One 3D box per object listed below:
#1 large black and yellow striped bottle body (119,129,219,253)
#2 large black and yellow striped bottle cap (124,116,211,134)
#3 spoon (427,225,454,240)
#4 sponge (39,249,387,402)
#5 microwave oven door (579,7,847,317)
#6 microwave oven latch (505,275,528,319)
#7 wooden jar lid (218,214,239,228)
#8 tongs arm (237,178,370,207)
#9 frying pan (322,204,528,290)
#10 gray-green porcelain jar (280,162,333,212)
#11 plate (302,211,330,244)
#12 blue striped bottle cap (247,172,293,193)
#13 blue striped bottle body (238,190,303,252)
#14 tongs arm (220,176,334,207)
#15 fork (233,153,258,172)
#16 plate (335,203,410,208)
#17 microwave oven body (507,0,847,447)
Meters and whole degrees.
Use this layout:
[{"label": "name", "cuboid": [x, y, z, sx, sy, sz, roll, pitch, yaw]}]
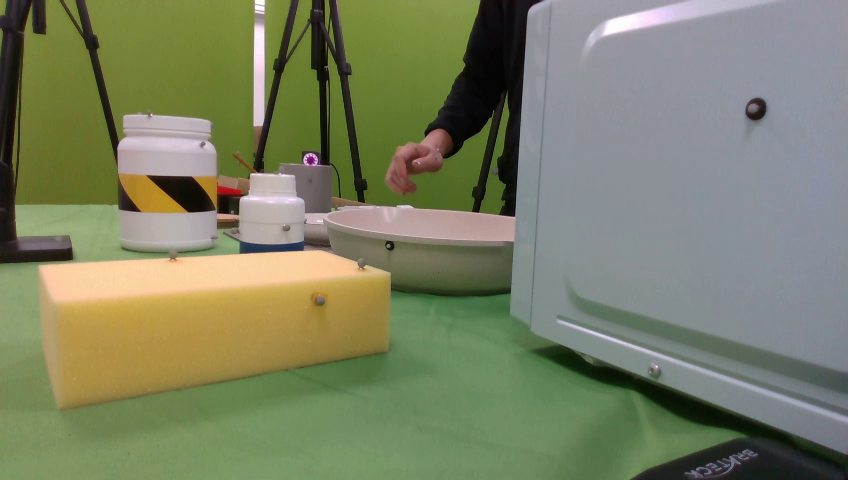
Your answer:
[{"label": "large black and yellow striped bottle body", "cuboid": [-0.367, -0.080, 0.876, 0.131, 0.184, 0.130, 2, 7, 0]}, {"label": "large black and yellow striped bottle cap", "cuboid": [-0.366, -0.163, 0.866, 0.115, 0.019, 0.115, 3, 7, 0]}, {"label": "spoon", "cuboid": [0.024, -0.018, 1.125, 0.042, 0.021, 0.193, -16, 9, -4]}, {"label": "sponge", "cuboid": [-0.142, 0.047, 0.420, 0.208, 0.061, 0.117, -3, 8, -36]}, {"label": "microwave oven door", "cuboid": [0.294, -0.067, 0.570, 0.358, 0.243, 0.039, -3, 9, -31]}, {"label": "microwave oven latch", "cuboid": [0.100, 0.042, 0.471, 0.079, 0.029, 0.030, -1, 7, -28]}, {"label": "wooden jar lid", "cuboid": [-0.404, -0.037, 1.169, 0.108, 0.020, 0.108, 3, 7, 0]}, {"label": "tongs arm", "cuboid": [-0.241, -0.095, 1.373, 0.387, 0.026, 0.050, 9, 0, -37]}, {"label": "frying pan", "cuboid": [0.109, -0.018, 0.800, 0.490, 0.102, 0.305, -12, 16, -30]}, {"label": "gray-green porcelain jar", "cuboid": [-0.238, -0.092, 1.221, 0.106, 0.126, 0.106, 2, 7, 0]}, {"label": "plate", "cuboid": [-0.139, -0.022, 1.021, 0.209, 0.038, 0.209, 2, 8, 0]}, {"label": "blue striped bottle cap", "cuboid": [-0.152, -0.057, 0.598, 0.044, 0.020, 0.044, 3, 6, 0]}, {"label": "blue striped bottle body", "cuboid": [-0.153, -0.007, 0.606, 0.063, 0.120, 0.063, 2, 8, 0]}, {"label": "tongs arm", "cuboid": [-0.285, -0.104, 1.445, 0.389, 0.027, 0.028, 9, -4, -23]}, {"label": "fork", "cuboid": [-0.396, -0.143, 1.486, 0.028, 0.018, 0.208, 20, -26, 45]}, {"label": "plate", "cuboid": [-0.089, -0.053, 1.309, 0.208, 0.039, 0.207, 2, 8, 0]}, {"label": "microwave oven body", "cuboid": [0.331, -0.042, 0.425, 0.444, 0.260, 0.324, -2, 8, -31]}]
